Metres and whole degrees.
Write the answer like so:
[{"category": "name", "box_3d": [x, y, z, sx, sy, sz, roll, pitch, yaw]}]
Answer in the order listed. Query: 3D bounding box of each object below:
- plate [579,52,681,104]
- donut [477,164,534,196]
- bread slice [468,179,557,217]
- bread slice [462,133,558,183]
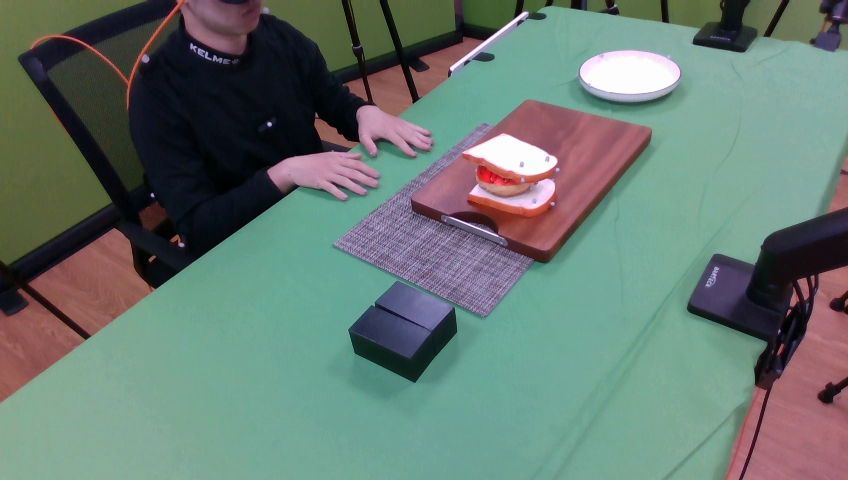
[{"category": "plate", "box_3d": [0.437, -0.343, 1.294, 0.209, 0.038, 0.208, -4, 40, 4]}, {"category": "donut", "box_3d": [0.136, -0.109, 0.991, 0.099, 0.048, 0.098, -4, 39, 3]}, {"category": "bread slice", "box_3d": [0.154, -0.083, 1.003, 0.130, 0.019, 0.105, 19, 48, 29]}, {"category": "bread slice", "box_3d": [0.145, -0.131, 0.971, 0.133, 0.018, 0.107, 29, 43, 32]}]
